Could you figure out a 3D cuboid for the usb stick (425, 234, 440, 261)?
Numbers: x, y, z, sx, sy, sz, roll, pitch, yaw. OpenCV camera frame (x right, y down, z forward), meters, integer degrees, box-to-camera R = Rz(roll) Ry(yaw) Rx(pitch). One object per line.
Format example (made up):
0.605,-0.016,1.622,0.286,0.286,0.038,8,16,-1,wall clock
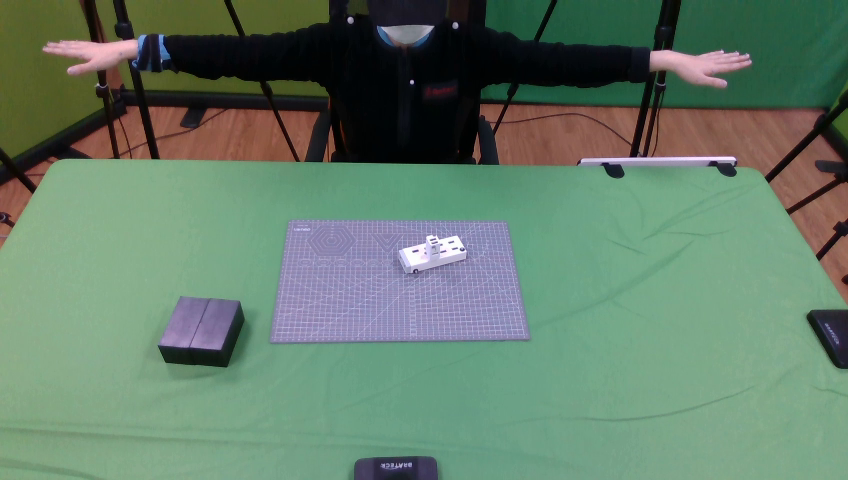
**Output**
0.016,0.019,1.133,0.021,0.059,0.027,-16,52,-15,usb stick

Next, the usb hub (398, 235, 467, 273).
0.016,0.027,1.166,0.125,0.025,0.049,-14,50,-17,usb hub
